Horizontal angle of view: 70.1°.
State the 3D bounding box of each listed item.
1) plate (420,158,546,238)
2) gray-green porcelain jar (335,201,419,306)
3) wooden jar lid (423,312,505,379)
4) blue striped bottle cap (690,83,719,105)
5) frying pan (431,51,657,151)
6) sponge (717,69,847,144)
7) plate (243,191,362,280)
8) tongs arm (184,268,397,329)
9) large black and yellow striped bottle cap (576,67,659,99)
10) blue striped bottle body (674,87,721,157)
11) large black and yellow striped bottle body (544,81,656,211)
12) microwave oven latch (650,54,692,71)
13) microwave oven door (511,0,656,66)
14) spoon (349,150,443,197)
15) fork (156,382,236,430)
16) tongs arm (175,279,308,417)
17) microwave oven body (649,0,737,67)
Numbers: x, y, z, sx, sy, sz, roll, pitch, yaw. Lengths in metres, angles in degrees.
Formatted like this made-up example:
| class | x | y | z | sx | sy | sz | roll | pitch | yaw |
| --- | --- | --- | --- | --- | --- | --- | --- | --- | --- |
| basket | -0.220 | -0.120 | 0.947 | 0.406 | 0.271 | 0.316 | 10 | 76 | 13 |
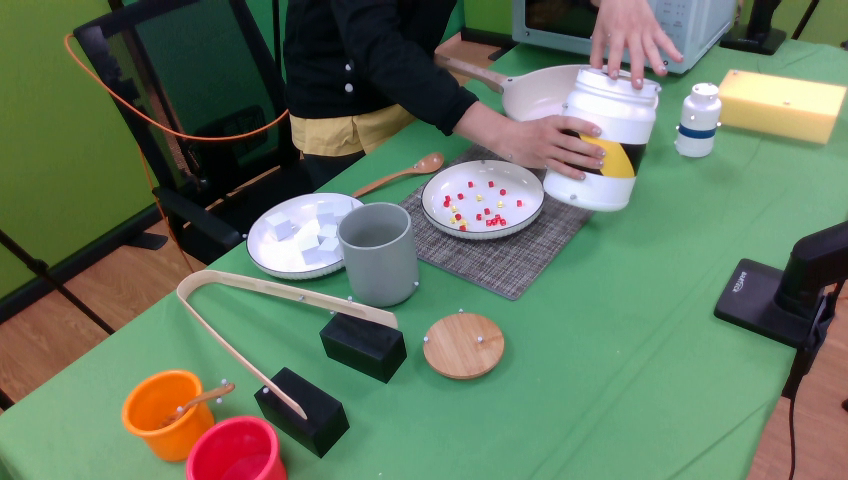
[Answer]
| class | x | y | z | sx | sy | sz | roll | pitch | yaw |
| --- | --- | --- | --- | --- | --- | --- | --- | --- | --- |
| plate | 0.099 | -0.067 | 1.017 | 0.209 | 0.038 | 0.208 | -4 | 40 | 3 |
| gray-green porcelain jar | -0.064 | 0.024 | 0.872 | 0.106 | 0.127 | 0.105 | -4 | 41 | 4 |
| wooden jar lid | 0.053 | 0.142 | 0.800 | 0.108 | 0.021 | 0.108 | -5 | 39 | 4 |
| blue striped bottle cap | 0.482 | -0.251 | 1.038 | 0.044 | 0.021 | 0.044 | -5 | 40 | 5 |
| frying pan | 0.216 | -0.303 | 1.223 | 0.484 | 0.103 | 0.308 | 29 | 50 | 24 |
| sponge | 0.663 | -0.256 | 1.141 | 0.205 | 0.061 | 0.118 | 19 | 47 | 27 |
| plate | -0.188 | -0.005 | 0.992 | 0.207 | 0.039 | 0.206 | -3 | 40 | 3 |
| tongs arm | -0.203 | 0.084 | 0.847 | 0.382 | 0.027 | 0.051 | 11 | 44 | 35 |
| large black and yellow striped bottle cap | 0.276 | -0.226 | 0.863 | 0.115 | 0.019 | 0.114 | 10 | 25 | -4 |
| blue striped bottle body | 0.486 | -0.213 | 1.071 | 0.063 | 0.121 | 0.063 | -4 | 41 | 4 |
| large black and yellow striped bottle body | 0.263 | -0.149 | 0.897 | 0.131 | 0.184 | 0.130 | 9 | 24 | -4 |
| microwave oven latch | 0.530 | -0.386 | 1.301 | 0.078 | 0.029 | 0.030 | 23 | 50 | 32 |
| microwave oven door | 0.351 | -0.540 | 1.349 | 0.353 | 0.245 | 0.039 | 24 | 51 | 31 |
| spoon | -0.051 | -0.123 | 1.120 | 0.194 | 0.022 | 0.041 | -23 | 61 | -18 |
| fork | -0.262 | 0.189 | 0.690 | 0.018 | 0.206 | 0.028 | 49 | 43 | -7 |
| tongs arm | -0.255 | 0.132 | 0.800 | 0.028 | 0.028 | 0.384 | -40 | 40 | -23 |
| microwave oven body | 0.475 | -0.602 | 1.411 | 0.438 | 0.261 | 0.327 | 23 | 50 | 32 |
